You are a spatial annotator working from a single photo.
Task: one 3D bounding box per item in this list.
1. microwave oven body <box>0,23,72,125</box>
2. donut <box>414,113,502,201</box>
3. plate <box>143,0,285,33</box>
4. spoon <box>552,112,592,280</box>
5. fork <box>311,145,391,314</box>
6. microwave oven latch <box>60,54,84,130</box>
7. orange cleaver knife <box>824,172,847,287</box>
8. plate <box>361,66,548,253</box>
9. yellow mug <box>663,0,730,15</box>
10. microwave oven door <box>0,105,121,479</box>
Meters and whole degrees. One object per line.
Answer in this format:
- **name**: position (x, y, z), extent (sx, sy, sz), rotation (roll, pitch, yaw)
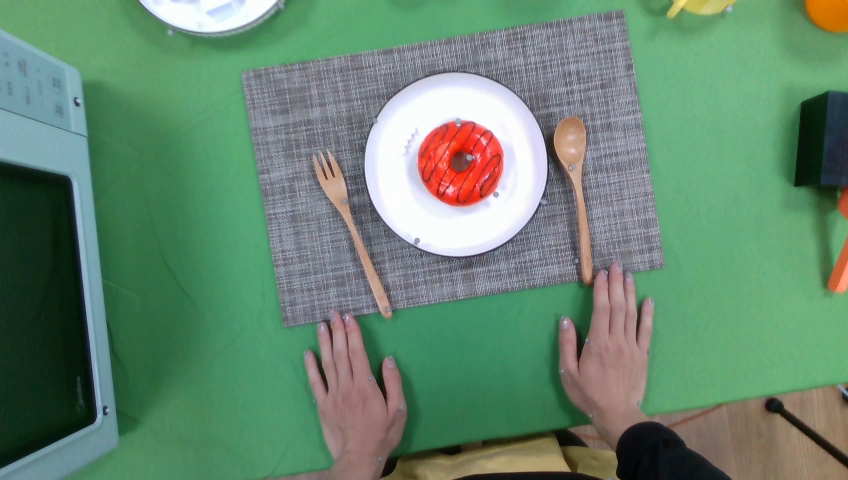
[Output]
- **microwave oven body**: position (-0.533, 0.026, 0.582), extent (0.326, 0.260, 0.441), rotation (-6, 91, 0)
- **donut**: position (0.038, -0.092, 0.677), extent (0.099, 0.048, 0.099), rotation (0, 92, 2)
- **plate**: position (-0.237, -0.337, 0.693), extent (0.208, 0.039, 0.207), rotation (0, 90, 1)
- **spoon**: position (0.175, -0.049, 0.694), extent (0.042, 0.021, 0.193), rotation (-8, 90, -23)
- **fork**: position (-0.082, -0.011, 0.698), extent (0.028, 0.018, 0.207), rotation (-23, 89, -16)
- **microwave oven latch**: position (-0.403, -0.164, 0.677), extent (0.030, 0.029, 0.079), rotation (-5, 91, 0)
- **orange cleaver knife**: position (0.480, -0.049, 0.666), extent (0.012, 0.076, 0.213), rotation (6, 119, 3)
- **plate**: position (0.034, -0.089, 0.688), extent (0.209, 0.038, 0.209), rotation (0, 90, 1)
- **yellow mug**: position (0.313, -0.305, 0.674), extent (0.100, 0.064, 0.131), rotation (39, 92, 1)
- **microwave oven door**: position (-0.383, 0.053, 0.576), extent (0.039, 0.244, 0.355), rotation (-6, 90, 1)
